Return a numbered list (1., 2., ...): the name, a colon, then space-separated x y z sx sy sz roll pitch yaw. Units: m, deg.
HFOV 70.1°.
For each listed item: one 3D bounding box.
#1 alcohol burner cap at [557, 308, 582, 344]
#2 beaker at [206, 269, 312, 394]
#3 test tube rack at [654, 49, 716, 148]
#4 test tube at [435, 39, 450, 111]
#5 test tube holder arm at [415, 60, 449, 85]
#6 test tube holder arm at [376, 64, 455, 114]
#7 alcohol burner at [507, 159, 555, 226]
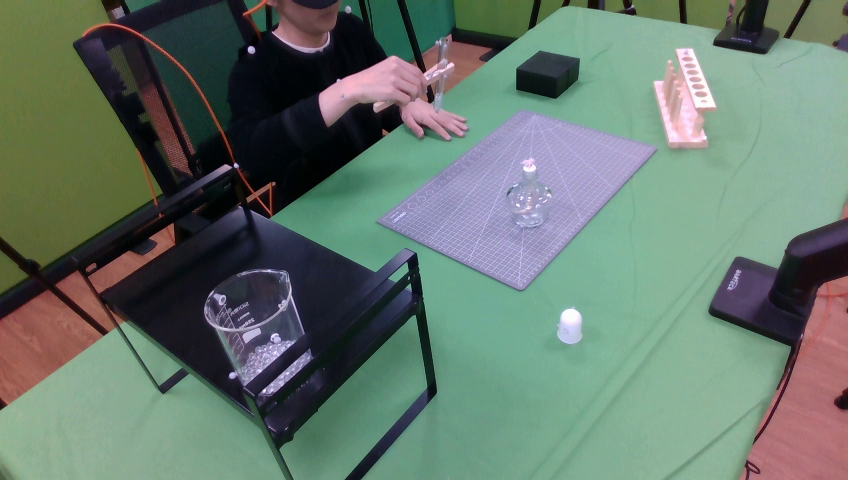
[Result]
1. alcohol burner cap: 0.194 0.111 0.802 0.034 0.048 0.033 -4 39 4
2. beaker: -0.146 0.086 0.560 0.073 0.101 0.084 19 46 27
3. test tube rack: 0.502 -0.281 1.176 0.066 0.085 0.241 2 41 11
4. test tube: 0.032 -0.285 1.060 0.017 0.150 0.017 2 53 -2
5. test tube holder arm: 0.014 -0.283 1.038 0.010 0.015 0.088 30 55 23
6. test tube holder arm: -0.012 -0.255 1.013 0.013 0.015 0.179 36 57 27
7. alcohol burner: 0.172 -0.081 0.969 0.078 0.119 0.077 -4 42 4
